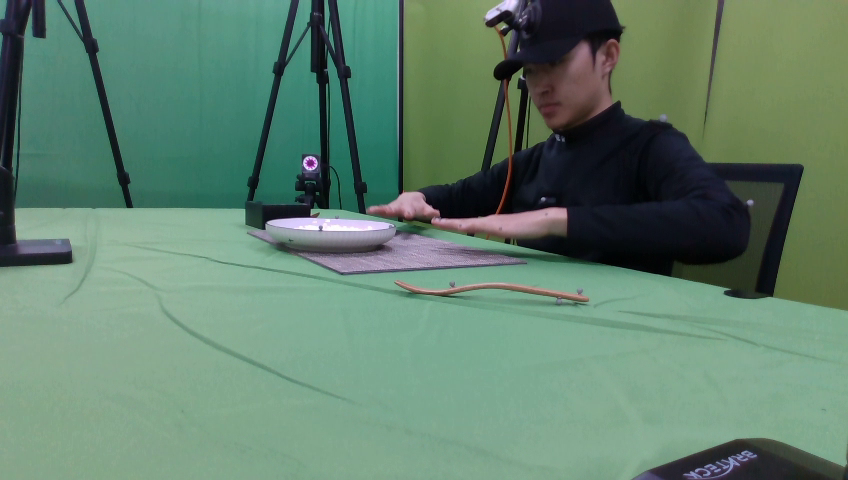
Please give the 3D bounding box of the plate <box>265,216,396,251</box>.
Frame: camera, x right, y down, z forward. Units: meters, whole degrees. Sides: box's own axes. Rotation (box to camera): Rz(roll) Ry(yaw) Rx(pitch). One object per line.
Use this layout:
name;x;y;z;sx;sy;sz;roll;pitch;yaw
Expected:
plate;-0.150;-0.011;0.978;0.209;0.038;0.209;3;7;0

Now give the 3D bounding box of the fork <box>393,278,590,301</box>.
fork;0.070;0.052;0.640;0.207;0.018;0.028;1;-3;5

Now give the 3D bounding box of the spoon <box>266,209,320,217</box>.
spoon;-0.315;-0.064;1.434;0.193;0.021;0.042;8;25;39
